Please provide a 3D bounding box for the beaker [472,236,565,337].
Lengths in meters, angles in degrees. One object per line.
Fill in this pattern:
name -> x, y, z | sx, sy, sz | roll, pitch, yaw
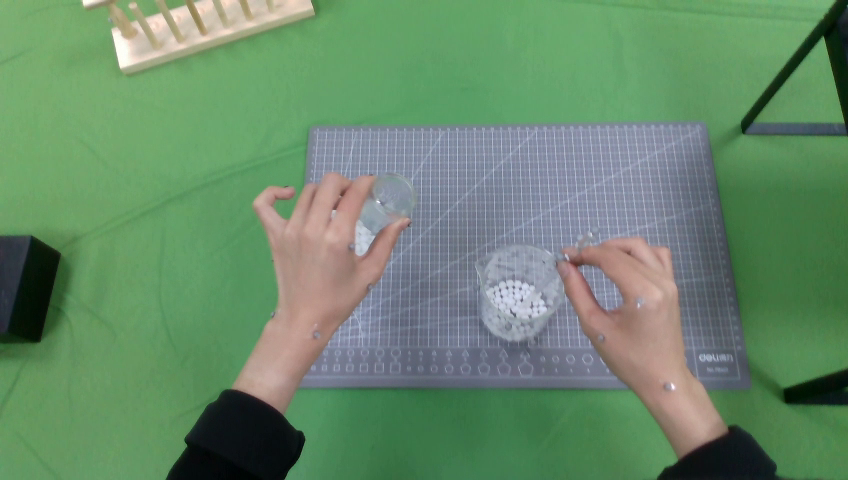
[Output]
beaker -> 0.083, 0.047, 0.570 | 0.083, 0.101, 0.073 | 22, 71, 11

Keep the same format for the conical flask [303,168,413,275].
conical flask -> -0.052, -0.020, 0.517 | 0.076, 0.122, 0.075 | 11, 66, -25

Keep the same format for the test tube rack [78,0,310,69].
test tube rack -> -0.268, -0.291, 0.718 | 0.242, 0.086, 0.066 | -20, 70, -6

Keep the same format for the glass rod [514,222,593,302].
glass rod -> 0.102, 0.024, 0.503 | 0.008, 0.200, 0.008 | 2, 70, -6
